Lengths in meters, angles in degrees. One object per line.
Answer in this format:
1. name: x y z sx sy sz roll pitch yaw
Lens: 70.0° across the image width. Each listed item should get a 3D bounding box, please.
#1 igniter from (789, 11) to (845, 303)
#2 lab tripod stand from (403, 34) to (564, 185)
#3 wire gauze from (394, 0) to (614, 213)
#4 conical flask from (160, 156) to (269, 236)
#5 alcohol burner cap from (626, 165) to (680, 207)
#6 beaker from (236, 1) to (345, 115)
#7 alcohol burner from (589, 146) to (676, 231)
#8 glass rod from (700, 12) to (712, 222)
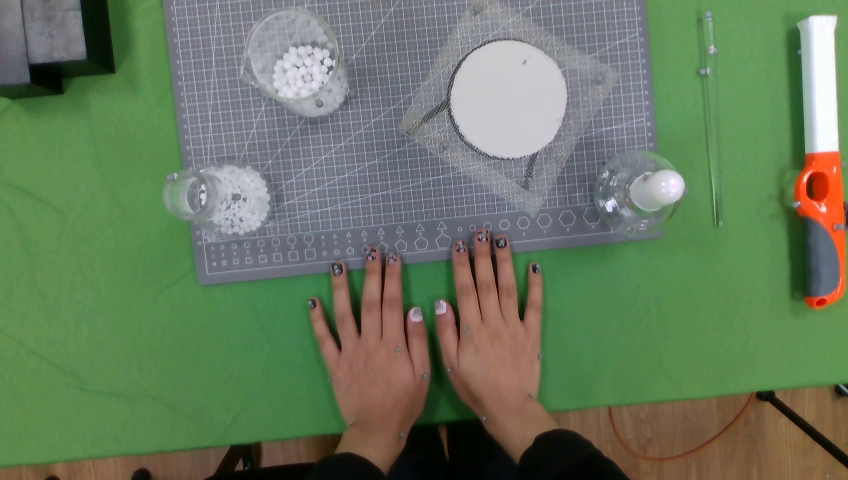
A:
1. igniter: 0.376 -0.077 0.582 0.057 0.025 0.276 -5 94 -12
2. lab tripod stand: 0.054 -0.109 0.513 0.148 0.131 0.148 0 95 -1
3. wire gauze: 0.059 -0.103 0.447 0.125 0.011 0.121 31 93 -3
4. conical flask: -0.181 -0.039 0.514 0.075 0.121 0.075 0 93 -2
5. alcohol burner cap: 0.189 -0.046 0.495 0.034 0.048 0.034 0 86 -4
6. beaker: -0.109 -0.149 0.522 0.084 0.100 0.074 -22 93 0
7. alcohol burner: 0.188 -0.046 0.531 0.078 0.119 0.078 0 92 1
8. glass rod: 0.273 -0.117 0.585 0.008 0.008 0.200 -5 96 -2
